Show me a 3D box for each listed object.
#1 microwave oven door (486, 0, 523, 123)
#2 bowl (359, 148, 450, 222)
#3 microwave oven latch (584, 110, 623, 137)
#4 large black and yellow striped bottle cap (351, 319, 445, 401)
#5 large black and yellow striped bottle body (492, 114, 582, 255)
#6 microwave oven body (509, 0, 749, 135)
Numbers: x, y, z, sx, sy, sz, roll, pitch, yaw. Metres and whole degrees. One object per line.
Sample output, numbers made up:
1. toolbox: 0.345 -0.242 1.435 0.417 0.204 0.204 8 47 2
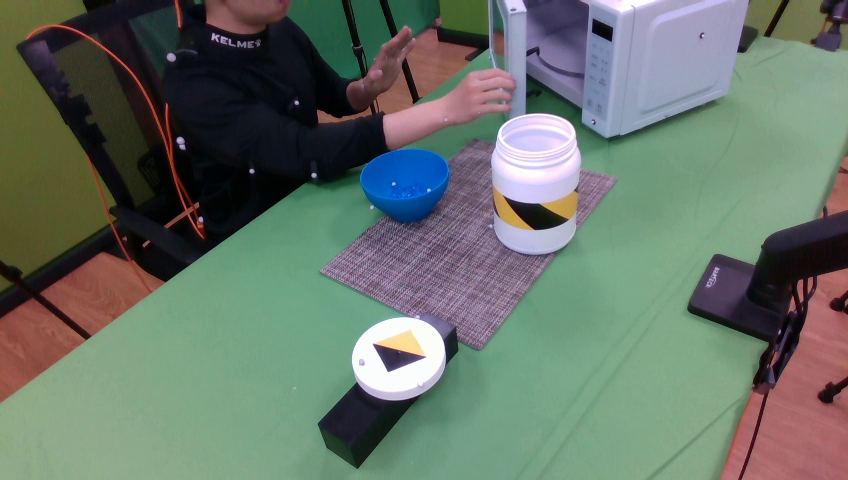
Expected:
1. microwave oven door: 0.164 -0.404 1.221 0.039 0.245 0.354 -6 41 2
2. bowl: -0.029 -0.083 1.022 0.151 0.077 0.150 -4 40 4
3. microwave oven latch: 0.337 -0.222 1.142 0.030 0.029 0.078 -21 42 -14
4. large black and yellow striped bottle cap: -0.031 0.143 0.734 0.115 0.019 0.114 -3 40 3
5. large black and yellow striped bottle body: 0.169 -0.083 0.912 0.131 0.185 0.130 -4 41 4
6. microwave oven body: 0.382 -0.444 1.246 0.327 0.261 0.437 -22 42 -16
